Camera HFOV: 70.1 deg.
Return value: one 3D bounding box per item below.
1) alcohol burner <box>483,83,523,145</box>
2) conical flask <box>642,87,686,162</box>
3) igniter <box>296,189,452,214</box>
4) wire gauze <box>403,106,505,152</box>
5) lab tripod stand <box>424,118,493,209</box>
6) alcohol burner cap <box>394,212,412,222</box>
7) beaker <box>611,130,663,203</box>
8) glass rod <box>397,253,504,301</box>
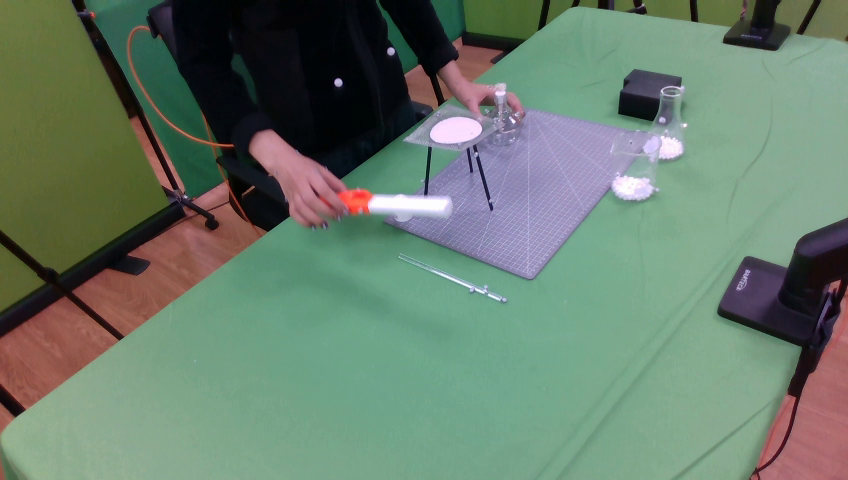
[{"bbox_3d":[0.152,-0.246,1.170,0.078,0.120,0.077,-8,39,7],"label":"alcohol burner"},{"bbox_3d":[0.429,-0.206,1.067,0.075,0.122,0.075,-6,40,5],"label":"conical flask"},{"bbox_3d":[-0.086,-0.058,0.911,0.275,0.025,0.057,4,40,29],"label":"igniter"},{"bbox_3d":[0.049,-0.181,0.992,0.120,0.011,0.125,23,48,34],"label":"wire gauze"},{"bbox_3d":[0.061,-0.133,1.038,0.148,0.132,0.147,-6,39,6],"label":"lab tripod stand"},{"bbox_3d":[-0.039,-0.057,1.038,0.034,0.048,0.033,-5,40,5],"label":"alcohol burner cap"},{"bbox_3d":[0.346,-0.118,0.998,0.084,0.101,0.073,-17,40,-7],"label":"beaker"},{"bbox_3d":[0.036,0.054,0.922,0.198,0.008,0.008,22,50,31],"label":"glass rod"}]
